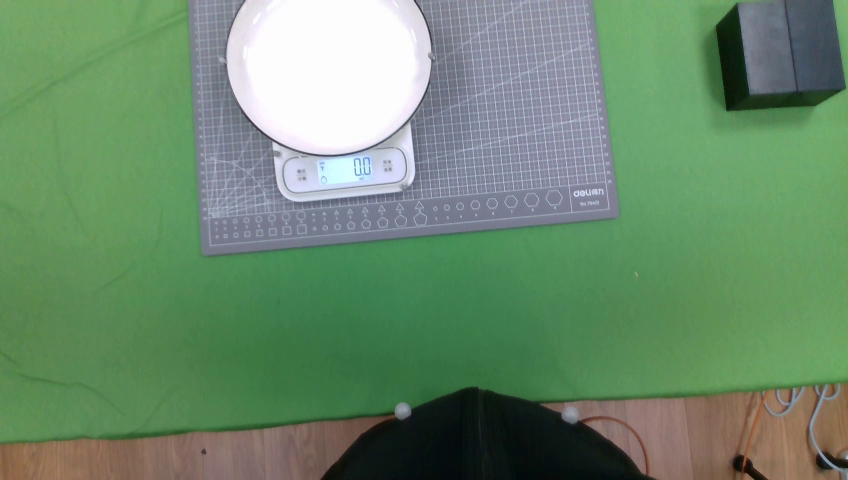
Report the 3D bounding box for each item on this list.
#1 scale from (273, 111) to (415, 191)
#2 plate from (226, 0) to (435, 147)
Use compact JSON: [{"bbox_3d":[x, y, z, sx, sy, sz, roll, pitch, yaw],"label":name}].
[{"bbox_3d":[-0.091,-0.158,0.650,0.149,0.031,0.200,-6,85,0],"label":"scale"},{"bbox_3d":[-0.093,-0.193,0.620,0.209,0.038,0.208,0,84,-1],"label":"plate"}]
